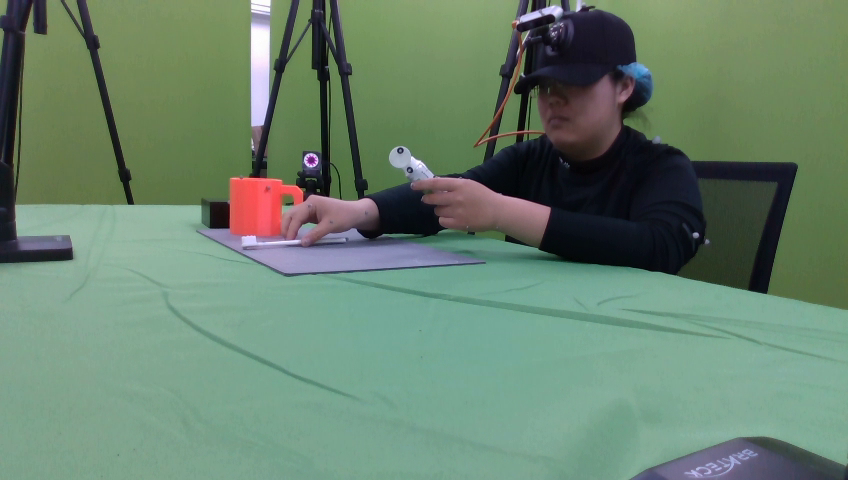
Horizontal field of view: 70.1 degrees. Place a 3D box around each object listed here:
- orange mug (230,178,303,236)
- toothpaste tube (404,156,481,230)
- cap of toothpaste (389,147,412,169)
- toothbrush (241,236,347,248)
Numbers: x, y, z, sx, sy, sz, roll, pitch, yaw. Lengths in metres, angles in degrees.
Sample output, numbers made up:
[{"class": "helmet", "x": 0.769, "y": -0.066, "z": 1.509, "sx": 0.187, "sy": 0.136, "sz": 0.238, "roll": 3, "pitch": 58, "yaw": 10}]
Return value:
[{"class": "orange mug", "x": -0.275, "y": -0.060, "z": 1.058, "sx": 0.126, "sy": 0.101, "sz": 0.083, "roll": -2, "pitch": 8, "yaw": -5}, {"class": "toothpaste tube", "x": 0.026, "y": -0.074, "z": 0.969, "sx": 0.165, "sy": 0.034, "sz": 0.055, "roll": 44, "pitch": -10, "yaw": -13}, {"class": "cap of toothpaste", "x": -0.036, "y": -0.127, "z": 0.930, "sx": 0.037, "sy": 0.037, "sz": 0.011, "roll": 0, "pitch": 30, "yaw": -14}, {"class": "toothbrush", "x": -0.195, "y": 0.001, "z": 0.929, "sx": 0.183, "sy": 0.016, "sz": 0.014, "roll": -2, "pitch": -15, "yaw": -42}]
